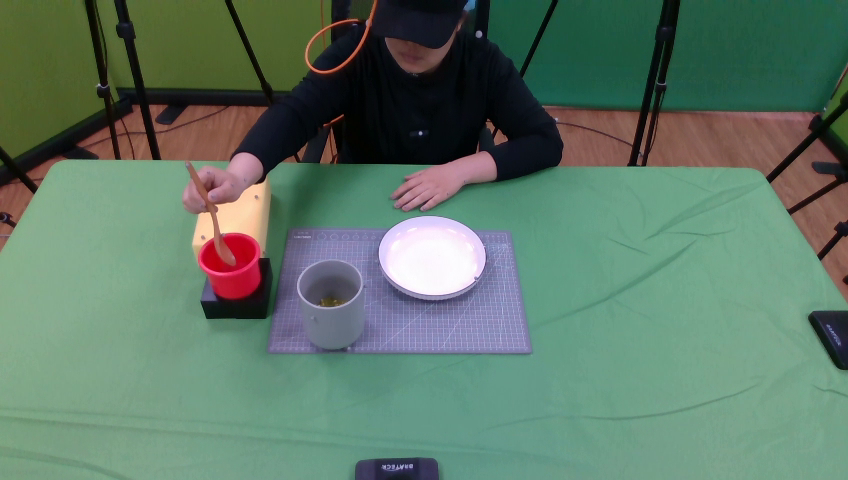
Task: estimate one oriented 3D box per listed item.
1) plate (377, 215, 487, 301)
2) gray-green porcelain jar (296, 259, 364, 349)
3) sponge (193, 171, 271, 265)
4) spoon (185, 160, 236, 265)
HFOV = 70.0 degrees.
[{"bbox_3d":[0.015,0.037,1.147,0.208,0.039,0.206,2,46,-2],"label":"plate"},{"bbox_3d":[-0.152,0.111,1.003,0.106,0.127,0.105,2,46,-2],"label":"gray-green porcelain jar"},{"bbox_3d":[-0.371,-0.047,1.189,0.118,0.061,0.205,-3,47,-6],"label":"sponge"},{"bbox_3d":[-0.336,-0.041,0.960,0.021,0.194,0.041,-8,32,-1],"label":"spoon"}]
